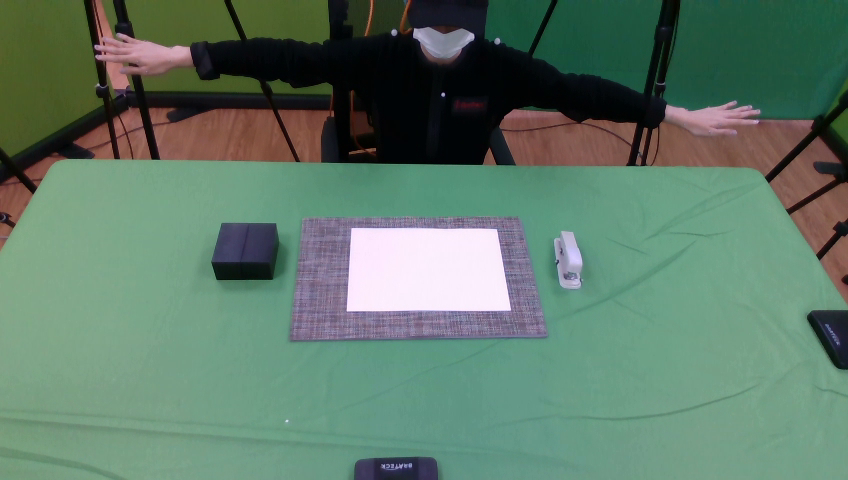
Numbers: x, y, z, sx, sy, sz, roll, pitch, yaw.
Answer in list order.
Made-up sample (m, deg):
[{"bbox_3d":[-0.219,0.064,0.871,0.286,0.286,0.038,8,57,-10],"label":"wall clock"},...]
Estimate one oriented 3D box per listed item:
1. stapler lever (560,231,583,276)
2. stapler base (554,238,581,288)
[{"bbox_3d":[0.282,0.018,1.165,0.027,0.040,0.117,5,44,-2],"label":"stapler lever"},{"bbox_3d":[0.282,0.038,1.181,0.041,0.024,0.130,5,44,-2],"label":"stapler base"}]
